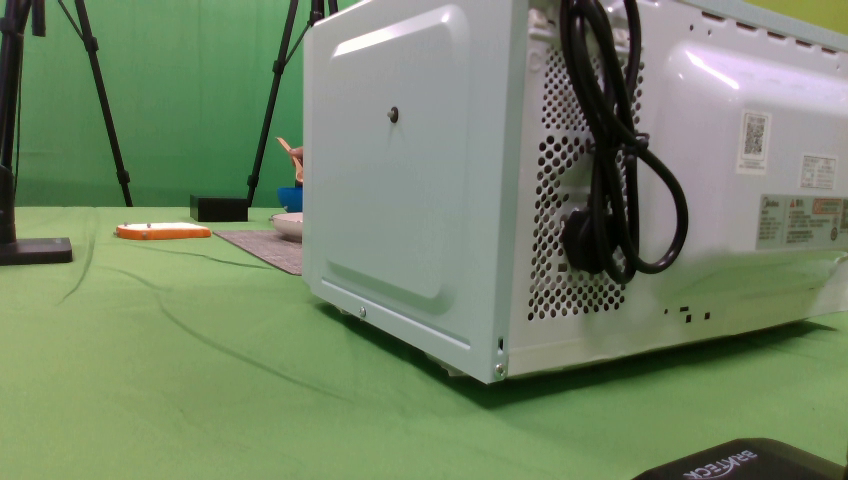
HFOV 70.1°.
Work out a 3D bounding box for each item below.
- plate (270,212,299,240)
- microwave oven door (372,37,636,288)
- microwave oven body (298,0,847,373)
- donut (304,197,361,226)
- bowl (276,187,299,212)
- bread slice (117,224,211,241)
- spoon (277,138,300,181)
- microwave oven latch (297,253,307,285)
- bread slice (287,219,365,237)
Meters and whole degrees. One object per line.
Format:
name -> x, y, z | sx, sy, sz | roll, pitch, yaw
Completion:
plate -> -0.162, -0.022, 1.058 | 0.208, 0.039, 0.207 | 2, 7, 0
microwave oven door -> 0.109, -0.080, 0.686 | 0.358, 0.243, 0.039 | -2, 9, -33
microwave oven body -> 0.151, -0.055, 0.542 | 0.444, 0.260, 0.324 | -2, 7, -33
donut -> -0.159, -0.050, 1.055 | 0.099, 0.048, 0.099 | 3, 8, 0
bowl -> -0.241, -0.073, 1.302 | 0.151, 0.077, 0.151 | 2, 7, 0
bread slice -> -0.443, -0.015, 1.022 | 0.132, 0.019, 0.104 | -3, 8, -45
spoon -> -0.290, -0.179, 1.351 | 0.042, 0.021, 0.193 | -3, 43, -36
microwave oven latch -> -0.081, 0.027, 0.582 | 0.079, 0.029, 0.030 | -1, 7, -32
bread slice -> -0.170, -0.022, 1.056 | 0.134, 0.018, 0.107 | 2, 7, -6
